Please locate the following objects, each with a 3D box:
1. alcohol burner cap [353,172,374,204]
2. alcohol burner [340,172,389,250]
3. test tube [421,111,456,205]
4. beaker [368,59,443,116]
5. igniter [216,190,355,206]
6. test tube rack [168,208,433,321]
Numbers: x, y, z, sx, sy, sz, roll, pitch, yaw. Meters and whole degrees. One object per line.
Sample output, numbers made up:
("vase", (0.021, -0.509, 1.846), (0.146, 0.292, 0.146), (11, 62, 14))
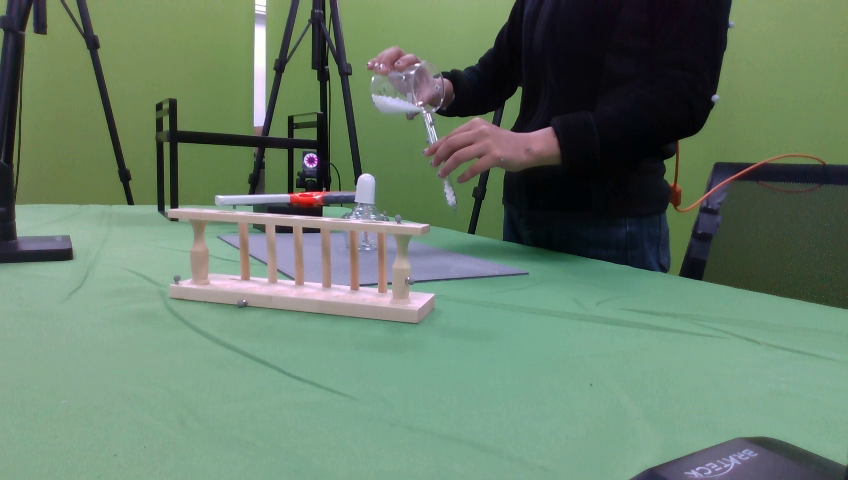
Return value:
("alcohol burner cap", (-0.092, -0.081, 0.935), (0.034, 0.048, 0.034), (6, 10, -1))
("alcohol burner", (-0.094, -0.045, 0.939), (0.078, 0.119, 0.078), (0, 7, 0))
("test tube", (0.022, -0.122, 0.893), (0.017, 0.150, 0.017), (-15, -14, -3))
("beaker", (-0.031, -0.232, 0.936), (0.100, 0.084, 0.074), (7, 9, 42))
("igniter", (-0.249, -0.079, 1.151), (0.278, 0.025, 0.057), (-4, 11, -27))
("test tube rack", (-0.116, 0.018, 0.573), (0.242, 0.085, 0.067), (4, 8, 14))
